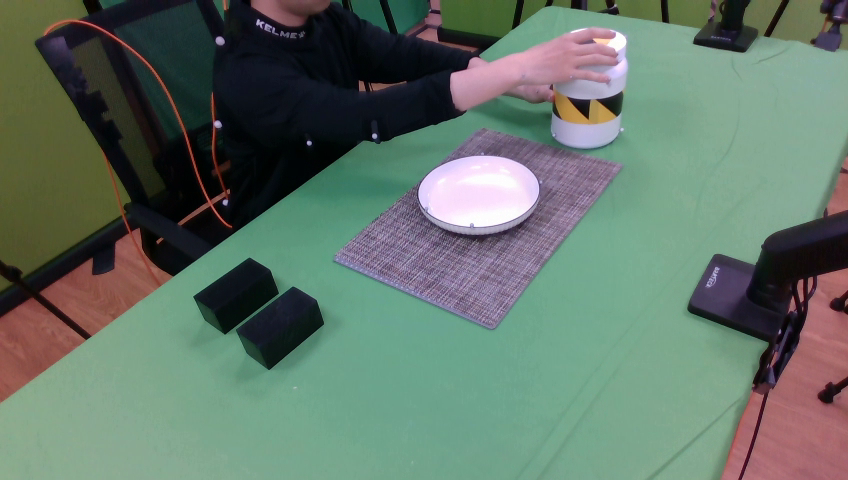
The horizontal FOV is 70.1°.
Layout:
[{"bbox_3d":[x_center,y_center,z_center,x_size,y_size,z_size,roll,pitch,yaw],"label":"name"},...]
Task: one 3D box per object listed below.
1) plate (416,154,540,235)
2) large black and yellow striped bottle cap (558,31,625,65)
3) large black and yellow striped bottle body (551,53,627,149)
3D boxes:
[{"bbox_3d":[0.091,-0.074,1.025,0.207,0.039,0.206,-4,41,4],"label":"plate"},{"bbox_3d":[0.296,-0.342,1.070,0.115,0.019,0.114,-3,40,3],"label":"large black and yellow striped bottle cap"},{"bbox_3d":[0.305,-0.278,1.126,0.131,0.185,0.130,-4,40,4],"label":"large black and yellow striped bottle body"}]
